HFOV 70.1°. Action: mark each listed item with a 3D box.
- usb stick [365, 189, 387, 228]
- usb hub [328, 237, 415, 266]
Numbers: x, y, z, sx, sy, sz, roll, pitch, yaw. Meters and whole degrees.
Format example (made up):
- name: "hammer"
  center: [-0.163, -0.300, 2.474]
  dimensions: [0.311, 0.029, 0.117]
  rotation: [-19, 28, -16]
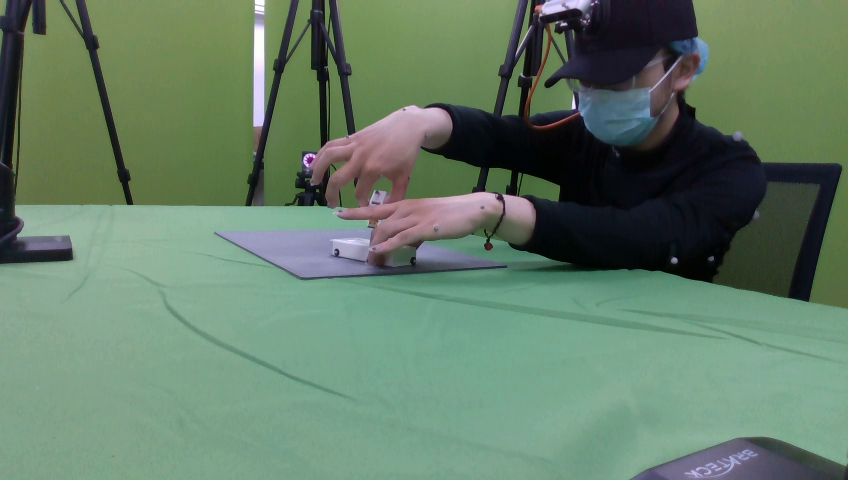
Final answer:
- name: "usb stick"
  center: [-0.069, -0.043, 0.857]
  dimensions: [0.021, 0.027, 0.059]
  rotation: [10, 51, 6]
- name: "usb hub"
  center: [-0.074, 0.015, 0.834]
  dimensions: [0.124, 0.025, 0.050]
  rotation: [7, 8, 39]
